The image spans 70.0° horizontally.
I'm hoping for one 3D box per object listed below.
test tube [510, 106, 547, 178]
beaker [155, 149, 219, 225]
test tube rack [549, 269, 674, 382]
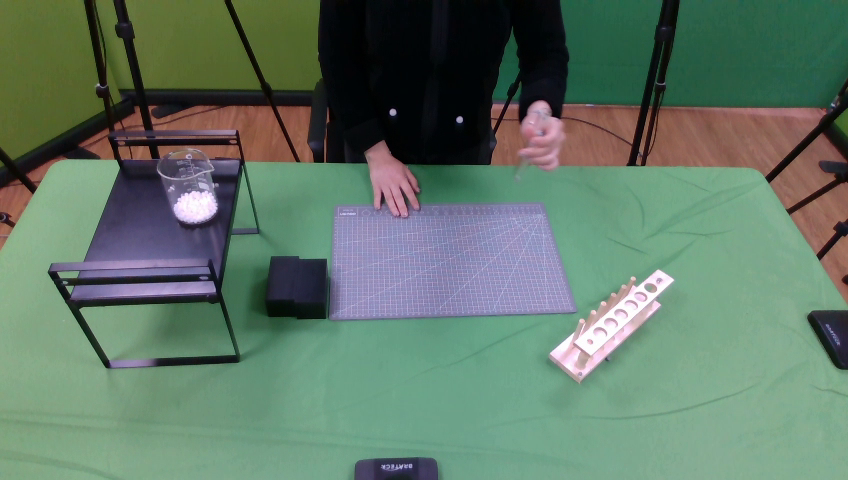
[{"bbox_3d":[0.168,-0.155,0.986,0.017,0.151,0.017,7,50,-9],"label":"test tube"},{"bbox_3d":[-0.362,-0.080,0.945,0.084,0.101,0.073,4,46,-1],"label":"beaker"},{"bbox_3d":[0.325,0.134,1.047,0.242,0.085,0.066,-32,56,-29],"label":"test tube rack"}]
